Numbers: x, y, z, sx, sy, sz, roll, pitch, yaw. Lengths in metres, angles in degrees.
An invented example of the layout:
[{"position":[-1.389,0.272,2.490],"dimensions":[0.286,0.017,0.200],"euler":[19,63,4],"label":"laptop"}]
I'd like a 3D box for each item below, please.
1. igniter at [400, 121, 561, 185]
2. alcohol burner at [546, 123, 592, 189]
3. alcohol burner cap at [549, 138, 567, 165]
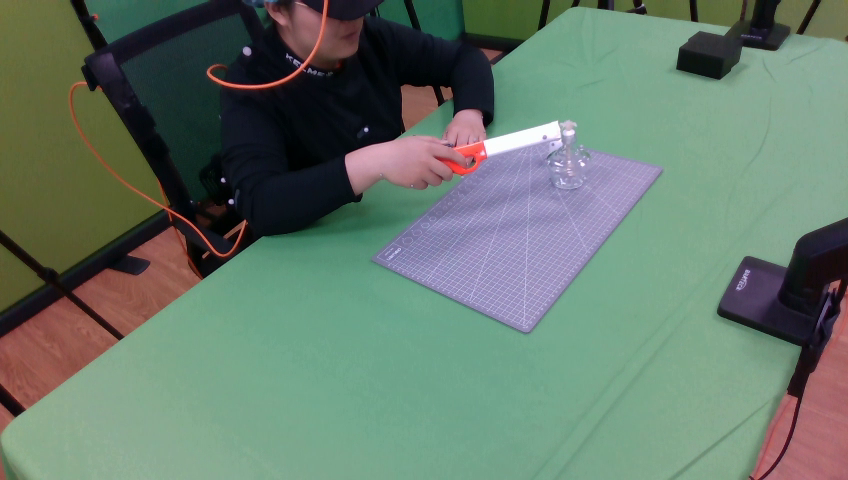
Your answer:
[{"position":[0.091,-0.145,0.999],"dimensions":[0.277,0.057,0.025],"euler":[-16,-4,-1],"label":"igniter"},{"position":[0.248,-0.147,1.035],"dimensions":[0.078,0.120,0.077],"euler":[-7,41,6],"label":"alcohol burner"},{"position":[0.247,-0.166,1.114],"dimensions":[0.034,0.048,0.033],"euler":[-6,40,6],"label":"alcohol burner cap"}]
